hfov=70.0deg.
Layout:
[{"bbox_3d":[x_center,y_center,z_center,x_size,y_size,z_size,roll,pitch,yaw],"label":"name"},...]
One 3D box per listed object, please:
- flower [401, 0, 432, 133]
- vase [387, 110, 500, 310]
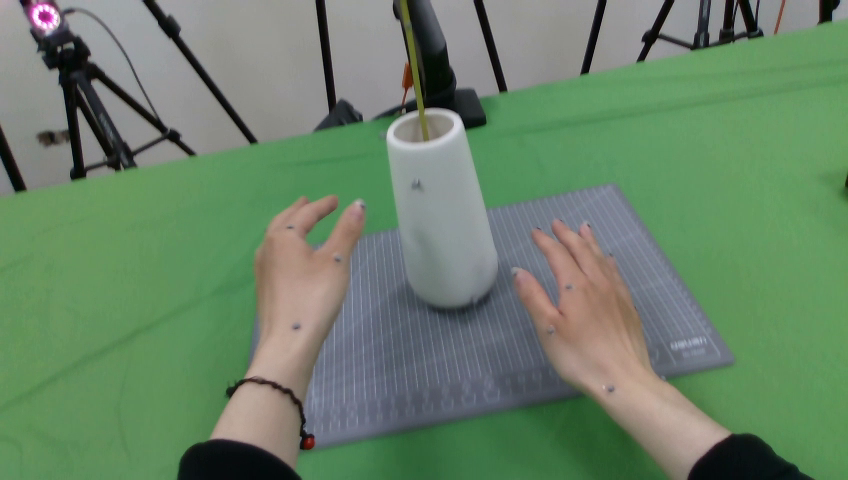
[{"bbox_3d":[0.004,-0.098,0.562,0.038,0.364,0.043,-23,22,-30],"label":"flower"},{"bbox_3d":[0.018,-0.025,0.600,0.098,0.202,0.097,-8,37,7],"label":"vase"}]
